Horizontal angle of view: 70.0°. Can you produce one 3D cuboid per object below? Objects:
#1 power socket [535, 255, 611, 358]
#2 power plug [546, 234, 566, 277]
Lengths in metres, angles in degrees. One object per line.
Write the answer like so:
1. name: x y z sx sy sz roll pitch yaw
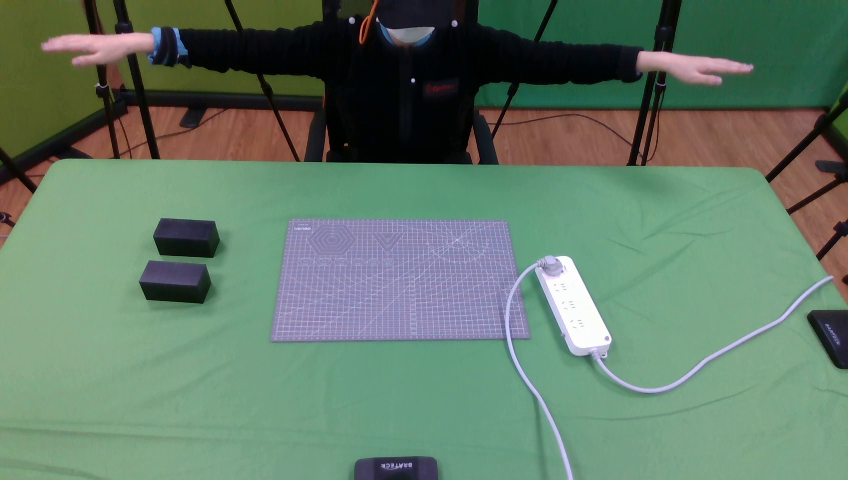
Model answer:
1. power socket: 0.266 0.114 1.098 0.072 0.033 0.225 -7 47 -9
2. power plug: 0.241 0.031 1.107 0.035 0.073 0.052 -1 30 11
